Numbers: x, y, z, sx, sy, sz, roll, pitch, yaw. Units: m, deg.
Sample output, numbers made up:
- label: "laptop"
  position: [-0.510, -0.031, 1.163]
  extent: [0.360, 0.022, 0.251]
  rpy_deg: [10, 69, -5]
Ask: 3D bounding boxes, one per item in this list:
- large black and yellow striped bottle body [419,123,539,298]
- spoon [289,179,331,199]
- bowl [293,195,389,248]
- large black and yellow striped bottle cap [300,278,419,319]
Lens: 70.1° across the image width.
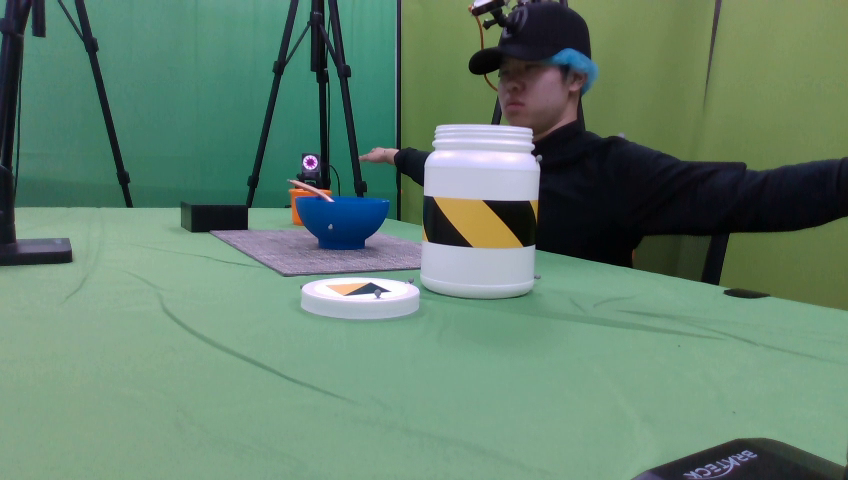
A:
- label: "large black and yellow striped bottle body"
  position: [0.062, -0.036, 0.683]
  extent: [0.131, 0.184, 0.130]
  rpy_deg: [2, 7, 0]
- label: "spoon"
  position: [-0.167, -0.071, 1.002]
  extent: [0.042, 0.021, 0.192]
  rpy_deg: [-8, 31, -44]
- label: "bowl"
  position: [-0.132, -0.030, 0.961]
  extent: [0.151, 0.077, 0.151]
  rpy_deg: [2, 7, 0]
- label: "large black and yellow striped bottle cap"
  position: [-0.062, 0.055, 0.588]
  extent: [0.115, 0.019, 0.115]
  rpy_deg: [1, 6, 0]
